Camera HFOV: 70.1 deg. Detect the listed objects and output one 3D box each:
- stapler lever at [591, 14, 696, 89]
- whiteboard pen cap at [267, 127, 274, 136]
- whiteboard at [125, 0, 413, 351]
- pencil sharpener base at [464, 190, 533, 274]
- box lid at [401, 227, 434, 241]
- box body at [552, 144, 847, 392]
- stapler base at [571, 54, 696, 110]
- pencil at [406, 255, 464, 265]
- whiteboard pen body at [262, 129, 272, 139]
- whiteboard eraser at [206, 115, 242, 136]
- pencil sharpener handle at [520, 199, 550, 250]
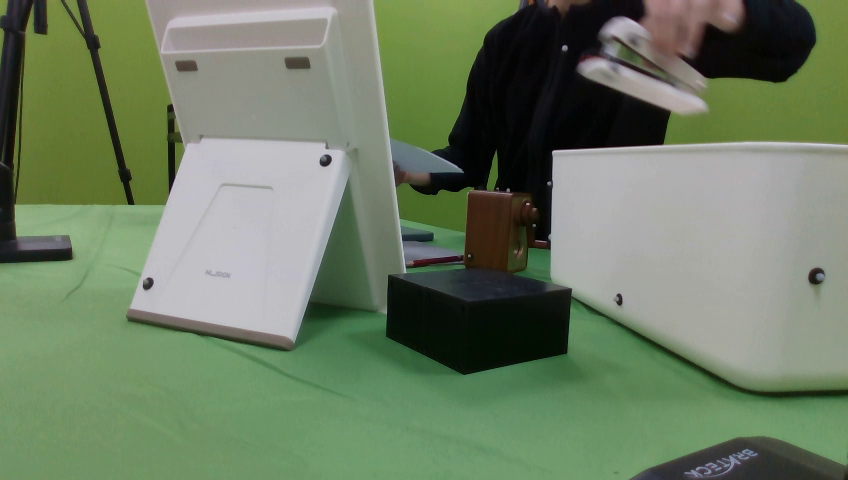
[{"bbox_3d":[0.222,-0.189,0.609,0.118,0.040,0.027,19,3,-14],"label":"stapler lever"},{"bbox_3d":[-0.340,-0.239,1.337,0.018,0.018,0.033,1,-1,-14],"label":"whiteboard pen cap"},{"bbox_3d":[-0.151,-0.050,0.471,0.216,0.305,0.144,6,27,24],"label":"whiteboard"},{"bbox_3d":[0.103,-0.012,0.813,0.076,0.107,0.061,8,9,36],"label":"pencil sharpener base"},{"bbox_3d":[-0.196,-0.015,1.105,0.373,0.015,0.262,-1,7,-32],"label":"box lid"},{"bbox_3d":[0.290,0.002,0.549,0.255,0.160,0.363,2,7,-10],"label":"box body"},{"bbox_3d":[0.213,-0.165,0.609,0.131,0.024,0.041,18,3,-14],"label":"stapler base"},{"bbox_3d":[0.041,0.026,0.849,0.012,0.012,0.195,10,9,44],"label":"pencil"},{"bbox_3d":[-0.361,-0.245,1.393,0.017,0.017,0.140,0,5,-20],"label":"whiteboard pen body"},{"bbox_3d":[-0.438,-0.249,1.320,0.056,0.042,0.112,-3,9,-30],"label":"whiteboard eraser"},{"bbox_3d":[0.147,-0.019,0.785,0.030,0.068,0.036,8,26,36],"label":"pencil sharpener handle"}]
